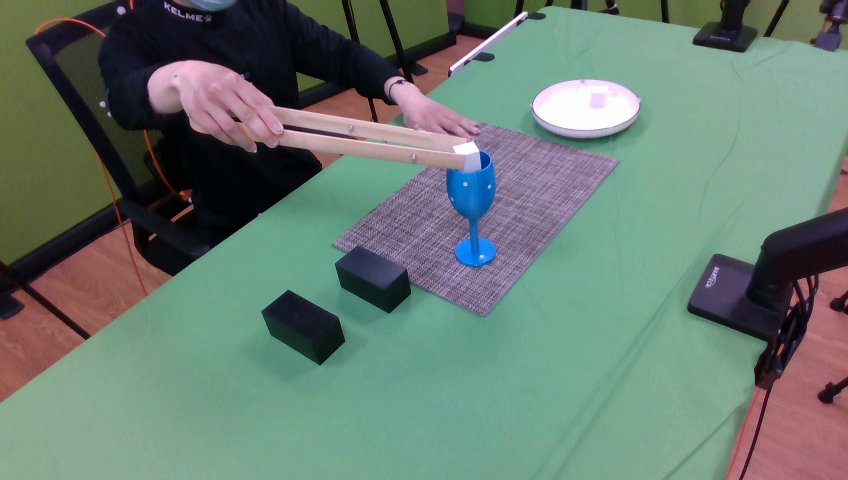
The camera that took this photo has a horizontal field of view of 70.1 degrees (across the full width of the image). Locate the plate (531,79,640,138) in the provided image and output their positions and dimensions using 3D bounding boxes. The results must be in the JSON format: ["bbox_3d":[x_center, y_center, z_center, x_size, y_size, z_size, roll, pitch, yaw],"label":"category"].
[{"bbox_3d":[0.321,-0.259,1.212,0.209,0.038,0.208,-4,40,4],"label":"plate"}]

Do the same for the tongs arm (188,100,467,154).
[{"bbox_3d":[-0.133,-0.152,0.837,0.384,0.026,0.050,11,41,5],"label":"tongs arm"}]

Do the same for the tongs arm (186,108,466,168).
[{"bbox_3d":[-0.136,-0.136,0.818,0.387,0.028,0.028,8,44,2],"label":"tongs arm"}]

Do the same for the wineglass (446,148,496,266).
[{"bbox_3d":[0.072,-0.045,0.889,0.074,0.173,0.073,-4,41,4],"label":"wineglass"}]
